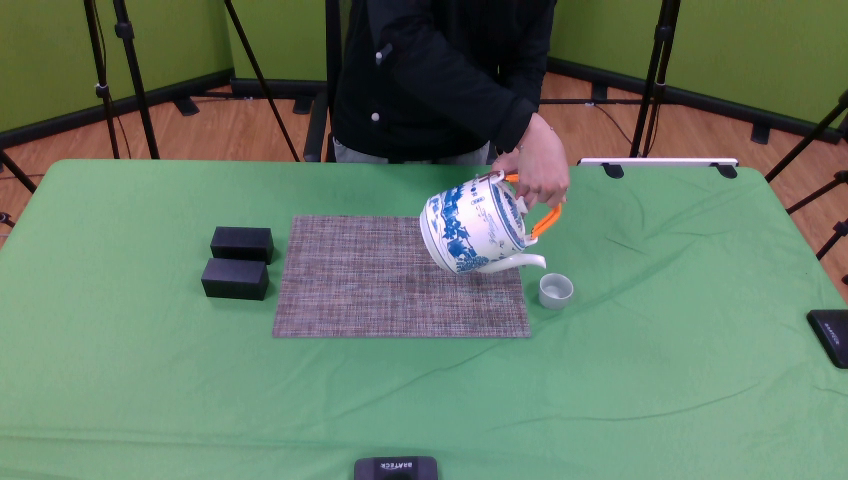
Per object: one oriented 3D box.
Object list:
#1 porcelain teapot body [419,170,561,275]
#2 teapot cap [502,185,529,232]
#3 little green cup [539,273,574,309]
[{"bbox_3d":[0.130,-0.018,1.031,0.225,0.206,0.144,-22,30,19],"label":"porcelain teapot body"},{"bbox_3d":[0.150,-0.053,1.002,0.044,0.085,0.084,-19,43,19],"label":"teapot cap"},{"bbox_3d":[0.241,0.096,1.113,0.061,0.039,0.061,3,47,-2],"label":"little green cup"}]
